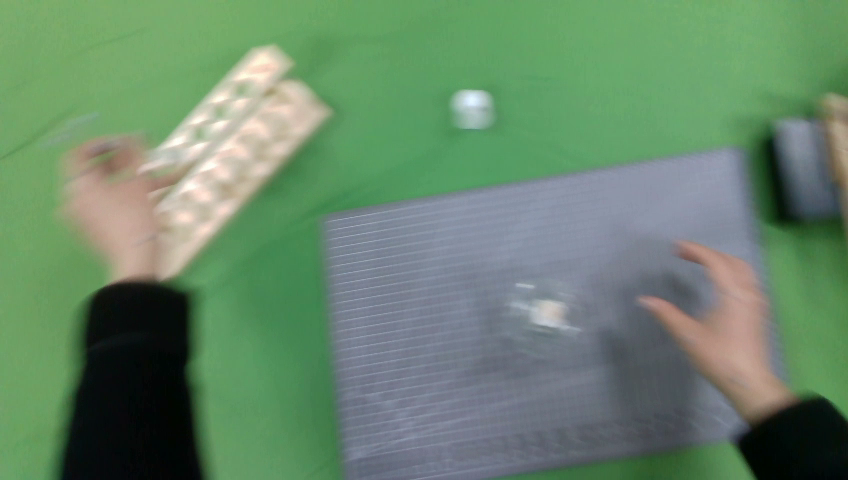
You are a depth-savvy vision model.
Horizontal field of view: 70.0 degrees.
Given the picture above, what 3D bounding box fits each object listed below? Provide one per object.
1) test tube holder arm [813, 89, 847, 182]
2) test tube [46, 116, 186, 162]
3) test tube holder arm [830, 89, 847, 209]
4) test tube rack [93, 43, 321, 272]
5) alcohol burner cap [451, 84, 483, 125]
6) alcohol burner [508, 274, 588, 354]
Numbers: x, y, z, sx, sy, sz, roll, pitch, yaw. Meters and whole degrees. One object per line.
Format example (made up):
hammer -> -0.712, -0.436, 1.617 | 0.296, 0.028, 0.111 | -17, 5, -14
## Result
test tube holder arm -> 0.383, -0.098, 0.568 | 0.010, 0.015, 0.087 | -8, 82, -11
test tube -> -0.268, -0.088, 0.547 | 0.017, 0.151, 0.017 | 0, 88, 19
test tube holder arm -> 0.395, -0.054, 0.563 | 0.013, 0.015, 0.178 | -7, 82, -11
test tube rack -> -0.223, -0.081, 0.643 | 0.066, 0.085, 0.242 | 40, 88, 10
alcohol burner cap -> 0.045, -0.148, 0.647 | 0.034, 0.048, 0.033 | -2, 77, 8
alcohol burner -> 0.118, 0.069, 0.572 | 0.078, 0.119, 0.077 | -1, 80, 7
